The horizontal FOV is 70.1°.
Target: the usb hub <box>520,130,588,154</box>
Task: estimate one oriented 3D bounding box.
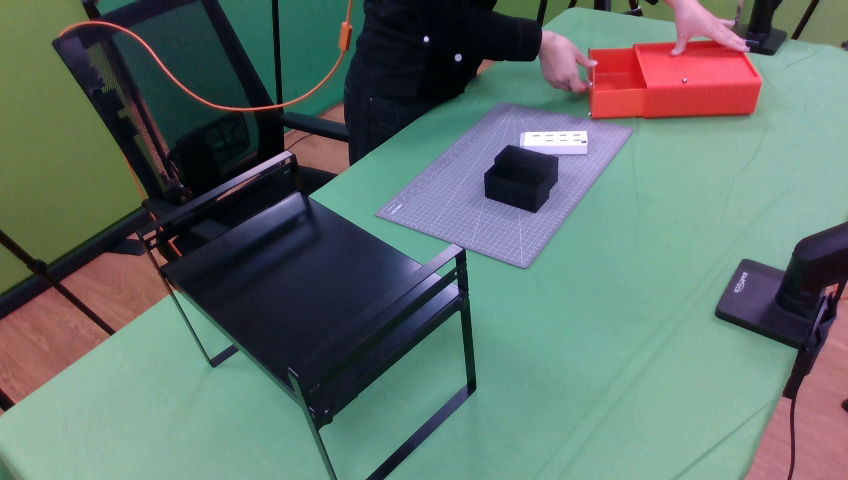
[{"bbox_3d":[0.246,-0.185,1.148,0.125,0.025,0.049,1,42,10],"label":"usb hub"}]

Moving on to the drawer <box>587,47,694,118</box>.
[{"bbox_3d":[0.446,-0.330,1.251,0.211,0.073,0.194,1,41,9],"label":"drawer"}]

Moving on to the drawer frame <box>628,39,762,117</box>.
[{"bbox_3d":[0.540,-0.332,1.234,0.213,0.083,0.201,0,41,7],"label":"drawer frame"}]
